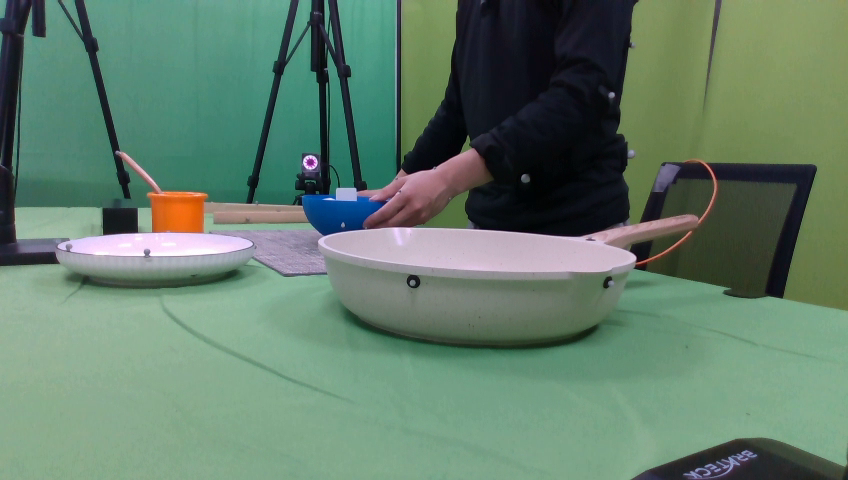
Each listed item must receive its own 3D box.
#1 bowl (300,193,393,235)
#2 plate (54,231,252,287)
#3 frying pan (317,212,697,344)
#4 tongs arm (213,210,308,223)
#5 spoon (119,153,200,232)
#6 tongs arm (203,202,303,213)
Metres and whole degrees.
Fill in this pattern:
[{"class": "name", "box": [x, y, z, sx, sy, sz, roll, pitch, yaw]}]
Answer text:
[{"class": "bowl", "box": [-0.128, -0.034, 0.995, 0.151, 0.077, 0.151, 3, 7, 0]}, {"class": "plate", "box": [-0.309, 0.020, 0.705, 0.208, 0.039, 0.207, 3, 7, 0]}, {"class": "frying pan", "box": [0.133, 0.013, 0.629, 0.490, 0.102, 0.305, -12, 14, -31]}, {"class": "tongs arm", "box": [-0.274, -0.055, 1.347, 0.390, 0.028, 0.028, -2, 6, -36]}, {"class": "spoon", "box": [-0.439, -0.077, 1.000, 0.021, 0.193, 0.042, -43, -7, 21]}, {"class": "tongs arm", "box": [-0.311, -0.069, 1.417, 0.387, 0.026, 0.050, 1, 8, -24]}]
